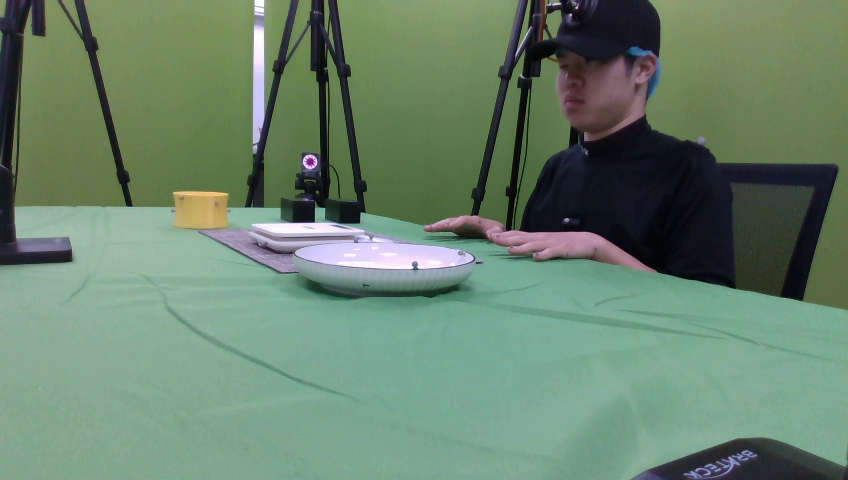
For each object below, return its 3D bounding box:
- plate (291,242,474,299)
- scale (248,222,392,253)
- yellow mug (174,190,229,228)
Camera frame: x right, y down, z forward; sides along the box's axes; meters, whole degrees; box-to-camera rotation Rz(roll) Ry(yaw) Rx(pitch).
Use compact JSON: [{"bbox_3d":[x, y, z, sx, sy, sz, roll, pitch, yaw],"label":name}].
[{"bbox_3d":[-0.047,0.033,0.693,0.209,0.038,0.209,3,7,0],"label":"plate"},{"bbox_3d":[-0.162,-0.006,0.954,0.202,0.031,0.148,-1,9,-32],"label":"scale"},{"bbox_3d":[-0.427,-0.063,1.189,0.100,0.064,0.131,5,7,13],"label":"yellow mug"}]
